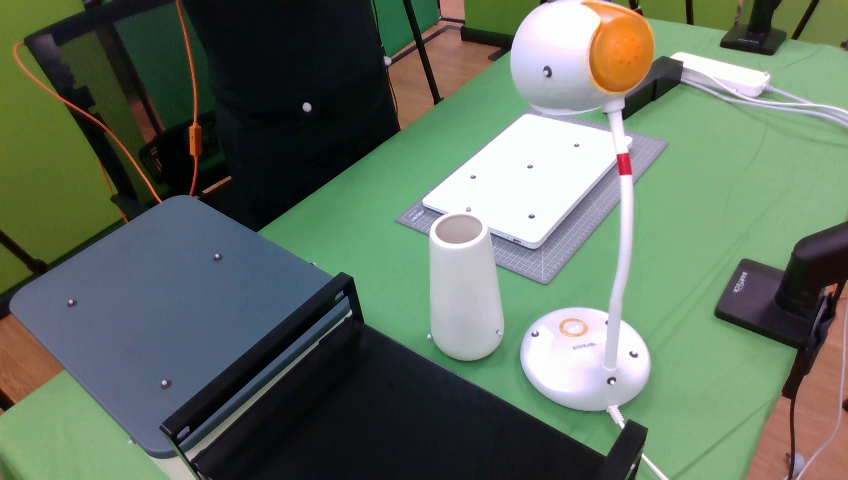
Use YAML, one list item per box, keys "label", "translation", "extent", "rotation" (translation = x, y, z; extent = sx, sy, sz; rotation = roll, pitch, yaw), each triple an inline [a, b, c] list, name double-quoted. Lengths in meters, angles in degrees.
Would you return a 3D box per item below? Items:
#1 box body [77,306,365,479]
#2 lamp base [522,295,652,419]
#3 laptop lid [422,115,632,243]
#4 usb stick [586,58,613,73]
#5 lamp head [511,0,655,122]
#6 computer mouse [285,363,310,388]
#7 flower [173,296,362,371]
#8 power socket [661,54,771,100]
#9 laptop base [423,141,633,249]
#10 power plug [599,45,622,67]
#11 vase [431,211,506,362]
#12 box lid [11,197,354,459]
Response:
- label: "box body"
  translation: [-0.282, 0.128, 0.759]
  extent: [0.361, 0.161, 0.255]
  rotation: [24, 49, 32]
- label: "lamp base"
  translation: [0.201, 0.095, 0.710]
  extent: [0.161, 0.181, 0.177]
  rotation: [-16, 43, -10]
- label: "laptop lid"
  translation: [0.190, -0.126, 1.081]
  extent: [0.239, 0.013, 0.358]
  rotation: [23, 48, 34]
- label: "usb stick"
  translation: [0.401, -0.399, 1.381]
  extent: [0.059, 0.027, 0.021]
  rotation: [0, 47, 21]
- label: "lamp head"
  translation: [0.155, -0.168, 0.564]
  extent: [0.113, 0.113, 0.122]
  rotation: [-18, 23, -12]
- label: "computer mouse"
  translation: [-0.161, 0.158, 0.791]
  extent: [0.116, 0.041, 0.063]
  rotation: [26, 45, 23]
- label: "flower"
  translation: [-0.233, 0.115, 0.831]
  extent: [0.359, 0.044, 0.038]
  rotation: [10, -2, 33]
- label: "power socket"
  translation: [0.615, -0.349, 1.285]
  extent: [0.072, 0.033, 0.225]
  rotation: [-36, 48, -29]
- label: "laptop base"
  translation: [0.194, -0.117, 1.087]
  extent: [0.233, 0.023, 0.355]
  rotation: [21, 47, 34]
- label: "power plug"
  translation: [0.437, -0.423, 1.412]
  extent: [0.053, 0.035, 0.072]
  rotation: [-20, 74, -46]
- label: "vase"
  translation: [0.054, 0.062, 0.757]
  extent: [0.098, 0.201, 0.097]
  rotation: [-3, 40, 3]
- label: "box lid"
  translation: [-0.288, 0.072, 0.710]
  extent: [0.368, 0.015, 0.264]
  rotation: [25, 50, 32]
